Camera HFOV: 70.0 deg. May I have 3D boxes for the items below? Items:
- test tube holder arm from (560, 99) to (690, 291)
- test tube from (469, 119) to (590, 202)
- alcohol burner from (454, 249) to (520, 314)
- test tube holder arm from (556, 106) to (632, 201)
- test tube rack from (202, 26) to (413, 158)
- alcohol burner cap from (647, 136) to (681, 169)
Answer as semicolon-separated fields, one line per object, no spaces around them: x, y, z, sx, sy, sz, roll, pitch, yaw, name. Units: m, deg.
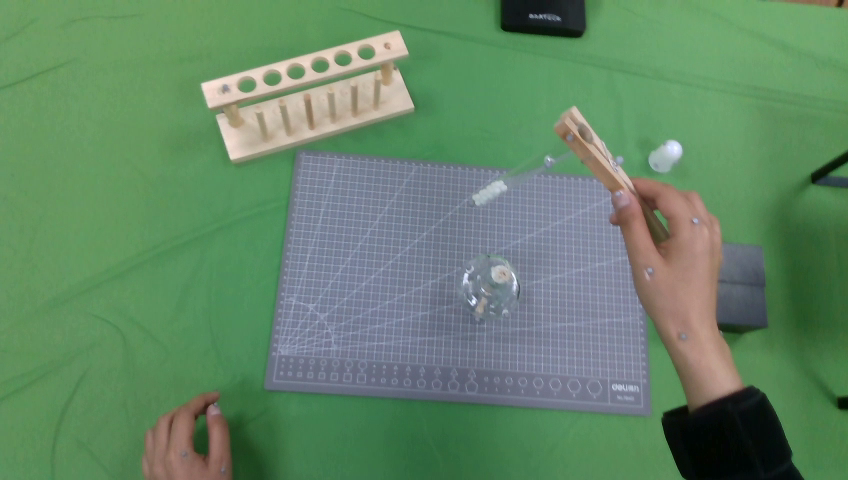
0.163;-0.034;0.485;0.179;0.015;0.013;55;38;-8;test tube holder arm
0.086;-0.064;0.527;0.017;0.150;0.017;12;66;-29;test tube
0.075;0.043;0.686;0.078;0.119;0.077;2;74;-6;alcohol burner
0.133;-0.066;0.472;0.088;0.015;0.010;48;38;-16;test tube holder arm
-0.135;-0.181;0.749;0.243;0.085;0.066;-19;75;-11;test tube rack
0.318;-0.117;0.798;0.034;0.048;0.033;1;72;-3;alcohol burner cap
